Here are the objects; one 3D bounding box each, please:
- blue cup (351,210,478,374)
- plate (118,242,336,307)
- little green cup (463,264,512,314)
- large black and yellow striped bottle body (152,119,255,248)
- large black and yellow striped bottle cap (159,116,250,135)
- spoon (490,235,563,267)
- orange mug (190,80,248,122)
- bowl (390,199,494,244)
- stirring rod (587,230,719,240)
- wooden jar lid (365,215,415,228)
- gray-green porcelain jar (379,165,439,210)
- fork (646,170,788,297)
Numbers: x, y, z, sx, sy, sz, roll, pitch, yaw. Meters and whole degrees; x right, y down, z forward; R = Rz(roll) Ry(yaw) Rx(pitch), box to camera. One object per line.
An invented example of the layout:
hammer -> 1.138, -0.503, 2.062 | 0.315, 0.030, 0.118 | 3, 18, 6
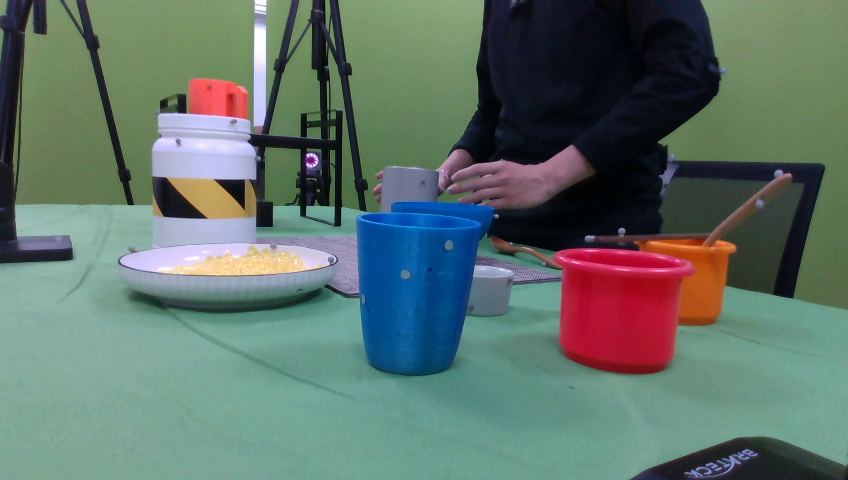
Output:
blue cup -> -0.009, 0.034, 0.414 | 0.093, 0.100, 0.092 | 3, 9, 0
plate -> -0.194, 0.033, 0.615 | 0.209, 0.038, 0.209 | 2, 7, 0
little green cup -> 0.053, 0.047, 0.580 | 0.061, 0.038, 0.061 | 3, 8, 0
large black and yellow striped bottle body -> -0.296, -0.070, 0.819 | 0.131, 0.184, 0.130 | 2, 7, 0
large black and yellow striped bottle cap -> -0.292, -0.153, 0.810 | 0.115, 0.019, 0.115 | 3, 9, 0
spoon -> 0.155, 0.015, 0.926 | 0.042, 0.021, 0.193 | 21, -1, -23
orange mug -> -0.394, -0.257, 1.173 | 0.126, 0.100, 0.084 | 1, 6, 25
bowl -> 0.024, -0.015, 0.871 | 0.151, 0.077, 0.151 | 3, 7, 0
stirring rod -> 0.226, -0.005, 0.587 | 0.177, 0.006, 0.014 | -2, 10, -29
wooden jar lid -> -0.072, -0.040, 1.291 | 0.108, 0.020, 0.108 | 3, 8, 0
gray-green porcelain jar -> -0.030, -0.072, 1.126 | 0.106, 0.126, 0.106 | 4, 4, 0
fork -> 0.256, 0.004, 0.543 | 0.028, 0.018, 0.207 | 3, -36, -9
